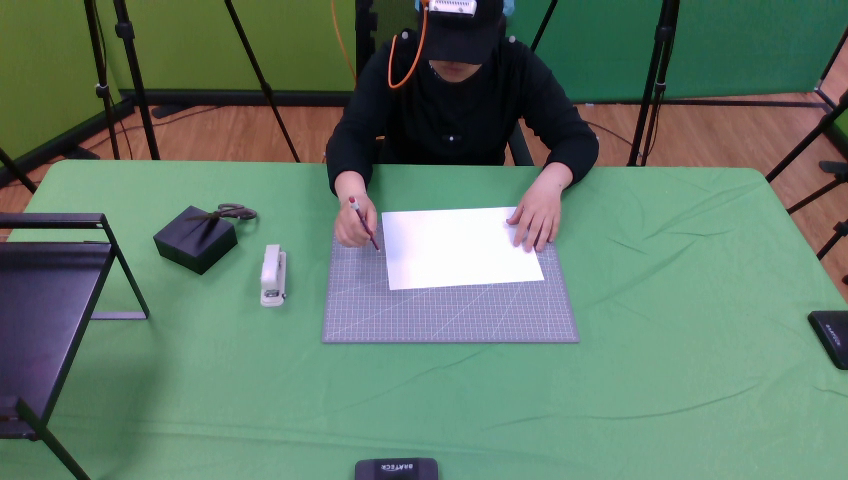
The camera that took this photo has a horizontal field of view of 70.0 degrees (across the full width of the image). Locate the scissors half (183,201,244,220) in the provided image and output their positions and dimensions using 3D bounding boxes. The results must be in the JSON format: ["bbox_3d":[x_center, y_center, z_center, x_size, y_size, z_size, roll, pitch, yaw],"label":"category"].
[{"bbox_3d":[-0.405,-0.054,1.163,0.040,0.013,0.175,29,18,7],"label":"scissors half"}]

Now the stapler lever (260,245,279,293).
[{"bbox_3d":[-0.279,0.045,1.096,0.027,0.040,0.117,-1,44,-9],"label":"stapler lever"}]

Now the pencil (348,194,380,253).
[{"bbox_3d":[-0.101,-0.024,1.051,0.012,0.195,0.012,-5,60,9],"label":"pencil"}]

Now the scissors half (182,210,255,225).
[{"bbox_3d":[-0.389,-0.042,1.158,0.040,0.013,0.175,41,21,22],"label":"scissors half"}]

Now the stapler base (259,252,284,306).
[{"bbox_3d":[-0.280,0.064,1.113,0.041,0.024,0.129,-1,44,-9],"label":"stapler base"}]
